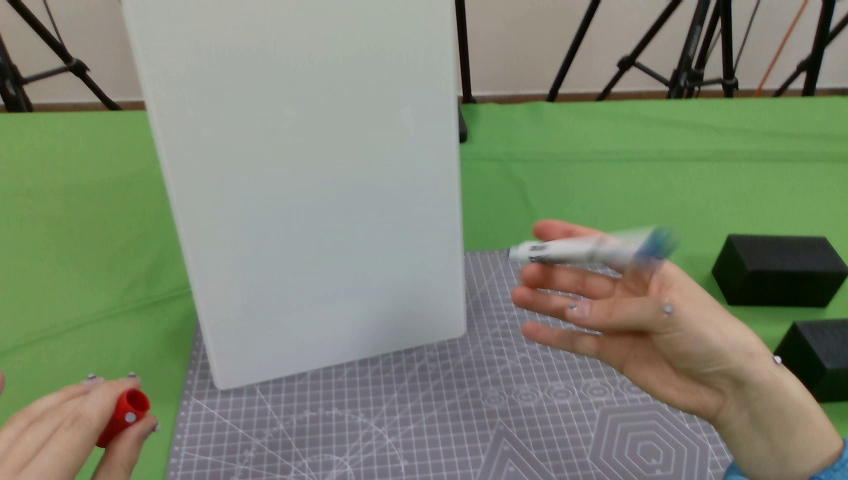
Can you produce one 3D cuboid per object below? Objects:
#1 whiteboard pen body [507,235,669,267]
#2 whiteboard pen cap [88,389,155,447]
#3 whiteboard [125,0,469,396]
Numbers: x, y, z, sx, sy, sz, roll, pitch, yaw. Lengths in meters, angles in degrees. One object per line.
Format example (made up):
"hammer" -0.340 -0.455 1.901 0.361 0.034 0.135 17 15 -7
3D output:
"whiteboard pen body" 0.085 0.007 0.352 0.017 0.017 0.140 -19 5 -23
"whiteboard pen cap" -0.157 0.093 0.316 0.032 0.017 0.017 -36 45 8
"whiteboard" -0.090 -0.057 0.514 0.218 0.307 0.142 -10 24 -14
